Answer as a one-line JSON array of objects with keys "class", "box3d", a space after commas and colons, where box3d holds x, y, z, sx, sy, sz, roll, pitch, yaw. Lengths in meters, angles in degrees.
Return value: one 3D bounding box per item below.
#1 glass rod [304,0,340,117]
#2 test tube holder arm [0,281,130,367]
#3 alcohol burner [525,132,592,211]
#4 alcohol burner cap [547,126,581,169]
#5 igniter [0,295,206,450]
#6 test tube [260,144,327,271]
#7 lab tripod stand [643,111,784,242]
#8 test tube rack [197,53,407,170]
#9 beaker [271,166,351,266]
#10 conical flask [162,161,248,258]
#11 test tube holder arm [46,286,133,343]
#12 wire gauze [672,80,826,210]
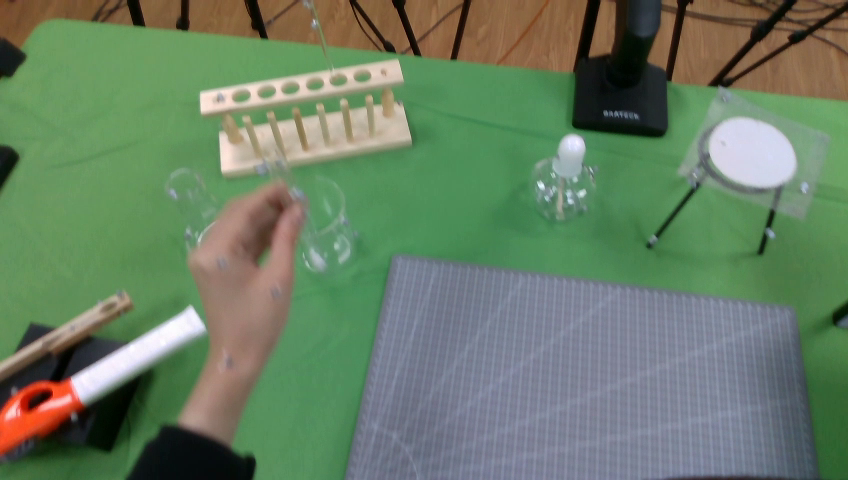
[{"class": "glass rod", "box3d": [-0.120, -0.220, 0.715, 0.008, 0.201, 0.008, -3, 54, 5]}, {"class": "test tube holder arm", "box3d": [-0.381, 0.095, 0.607, 0.178, 0.015, 0.013, -32, 64, -16]}, {"class": "alcohol burner", "box3d": [0.157, -0.085, 0.695, 0.078, 0.120, 0.077, 0, 60, 0]}, {"class": "alcohol burner cap", "box3d": [0.155, -0.104, 0.663, 0.034, 0.048, 0.033, 0, 60, 1]}, {"class": "igniter", "box3d": [-0.344, 0.139, 0.579, 0.276, 0.025, 0.057, -32, 67, -19]}, {"class": "test tube", "box3d": [-0.094, -0.017, 0.454, 0.017, 0.151, 0.017, -2, 58, 3]}, {"class": "lab tripod stand", "box3d": [0.323, -0.064, 0.667, 0.148, 0.132, 0.147, 0, 60, 0]}, {"class": "test tube rack", "box3d": [-0.147, -0.159, 0.758, 0.242, 0.086, 0.066, -11, 61, -5]}, {"class": "beaker", "box3d": [-0.123, -0.019, 0.673, 0.073, 0.101, 0.083, 21, 64, 13]}, {"class": "conical flask", "box3d": [-0.248, -0.037, 0.672, 0.075, 0.123, 0.074, -1, 61, 2]}, {"class": "test tube holder arm", "box3d": [-0.341, 0.076, 0.617, 0.088, 0.015, 0.010, -31, 63, -16]}, {"class": "wire gauze", "box3d": [0.329, -0.097, 0.608, 0.121, 0.011, 0.124, 28, 66, 14]}]
